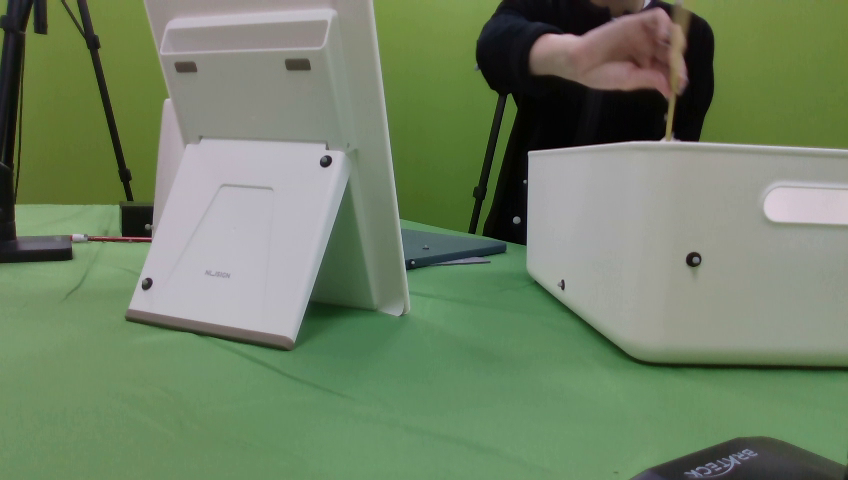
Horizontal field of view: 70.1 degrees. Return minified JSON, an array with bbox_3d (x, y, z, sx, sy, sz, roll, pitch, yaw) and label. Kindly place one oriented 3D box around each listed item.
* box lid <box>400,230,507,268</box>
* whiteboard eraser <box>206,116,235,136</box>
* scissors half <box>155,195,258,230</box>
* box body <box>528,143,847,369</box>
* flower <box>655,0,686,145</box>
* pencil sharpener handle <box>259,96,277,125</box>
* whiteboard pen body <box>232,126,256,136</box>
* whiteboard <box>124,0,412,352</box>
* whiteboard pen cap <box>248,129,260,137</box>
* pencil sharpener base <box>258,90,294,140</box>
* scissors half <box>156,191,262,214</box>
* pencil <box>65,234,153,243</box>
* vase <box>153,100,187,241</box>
[{"bbox_3d":[-0.065,0.012,0.933,0.262,0.015,0.373,7,8,36],"label":"box lid"},{"bbox_3d":[-0.449,-0.251,1.335,0.056,0.042,0.112,1,7,-22],"label":"whiteboard eraser"},{"bbox_3d":[-0.378,-0.051,1.058,0.176,0.040,0.012,20,22,-31],"label":"scissors half"},{"bbox_3d":[0.257,-0.005,0.591,0.254,0.160,0.363,2,7,-4],"label":"box body"},{"bbox_3d":[0.251,-0.163,0.611,0.044,0.038,0.363,43,-6,30],"label":"flower"},{"bbox_3d":[-0.373,-0.304,1.425,0.036,0.067,0.030,13,-1,-37],"label":"pencil sharpener handle"},{"bbox_3d":[-0.407,-0.247,1.372,0.017,0.017,0.140,-3,13,-35],"label":"whiteboard pen body"},{"bbox_3d":[-0.151,-0.049,0.472,0.216,0.305,0.144,6,27,24],"label":"whiteboard"},{"bbox_3d":[-0.373,-0.235,1.326,0.018,0.018,0.033,-3,12,-35],"label":"whiteboard pen cap"},{"bbox_3d":[-0.341,-0.285,1.388,0.062,0.107,0.076,-3,9,-36],"label":"pencil sharpener base"},{"bbox_3d":[-0.371,-0.068,1.051,0.176,0.040,0.013,2,25,-24],"label":"scissors half"},{"bbox_3d":[-0.429,0.000,0.910,0.195,0.012,0.012,2,7,-19],"label":"pencil"},{"bbox_3d":[-0.278,-0.066,0.736,0.098,0.200,0.098,2,9,0],"label":"vase"}]
